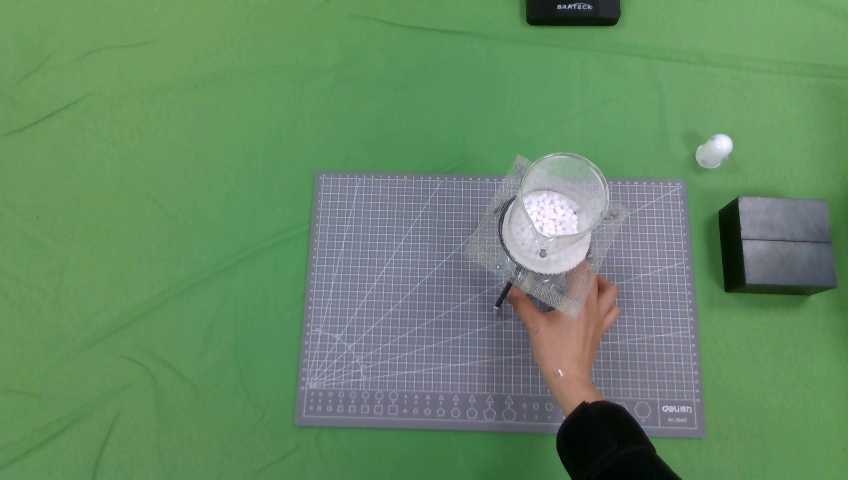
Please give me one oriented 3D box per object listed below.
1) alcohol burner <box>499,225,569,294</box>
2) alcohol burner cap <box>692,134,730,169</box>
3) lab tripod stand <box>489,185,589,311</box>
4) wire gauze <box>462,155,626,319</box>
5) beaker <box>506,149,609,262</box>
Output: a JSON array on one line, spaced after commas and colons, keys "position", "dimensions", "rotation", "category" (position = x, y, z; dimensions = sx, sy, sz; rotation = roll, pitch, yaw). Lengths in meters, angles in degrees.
[{"position": [0.122, 0.018, 0.655], "dimensions": [0.078, 0.119, 0.077], "rotation": [0, 76, -1], "category": "alcohol burner"}, {"position": [0.347, -0.108, 0.727], "dimensions": [0.034, 0.048, 0.033], "rotation": [0, 74, 1], "category": "alcohol burner cap"}, {"position": [0.119, 0.004, 0.648], "dimensions": [0.148, 0.132, 0.147], "rotation": [0, 73, -1], "category": "lab tripod stand"}, {"position": [0.116, -0.007, 0.583], "dimensions": [0.125, 0.011, 0.121], "rotation": [30, 78, 5], "category": "wire gauze"}, {"position": [0.112, -0.022, 0.537], "dimensions": [0.074, 0.101, 0.083], "rotation": [26, 76, 7], "category": "beaker"}]
